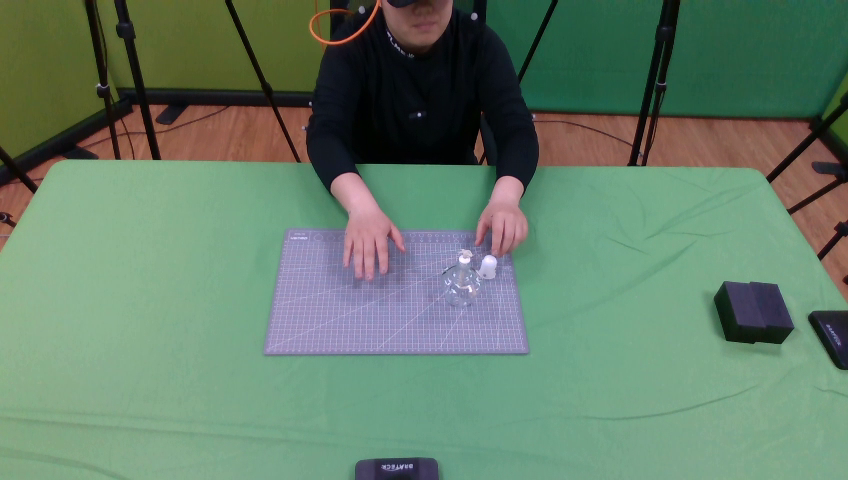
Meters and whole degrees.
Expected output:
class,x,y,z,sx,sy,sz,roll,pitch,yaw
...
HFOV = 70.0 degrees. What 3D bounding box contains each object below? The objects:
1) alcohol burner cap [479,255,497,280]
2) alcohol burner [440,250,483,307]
class,x,y,z,sx,sy,sz,roll,pitch,yaw
alcohol burner cap,0.122,0.050,1.143,0.034,0.048,0.033,2,45,-2
alcohol burner,0.068,0.064,1.076,0.078,0.120,0.077,1,45,-1
